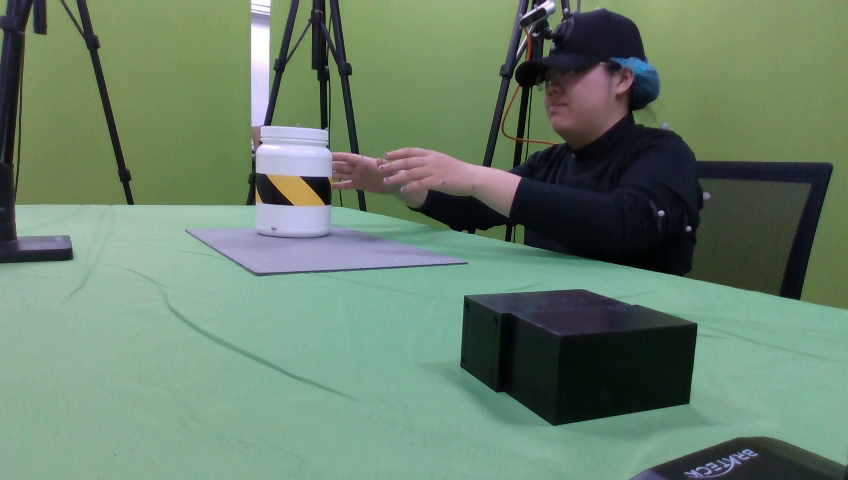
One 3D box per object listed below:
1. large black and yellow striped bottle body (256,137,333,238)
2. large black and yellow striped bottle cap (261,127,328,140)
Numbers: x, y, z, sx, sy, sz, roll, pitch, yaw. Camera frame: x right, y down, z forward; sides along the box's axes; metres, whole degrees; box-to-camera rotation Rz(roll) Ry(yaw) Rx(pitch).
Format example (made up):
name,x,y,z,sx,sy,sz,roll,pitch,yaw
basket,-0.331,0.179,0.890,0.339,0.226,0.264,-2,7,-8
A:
name,x,y,z,sx,sy,sz,roll,pitch,yaw
large black and yellow striped bottle body,-0.228,-0.102,1.063,0.131,0.184,0.130,3,8,0
large black and yellow striped bottle cap,-0.224,-0.184,1.051,0.115,0.019,0.115,2,7,0
